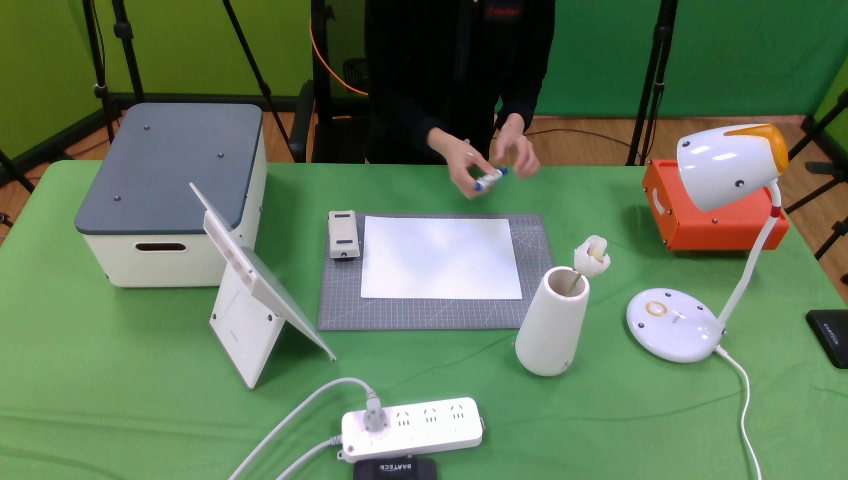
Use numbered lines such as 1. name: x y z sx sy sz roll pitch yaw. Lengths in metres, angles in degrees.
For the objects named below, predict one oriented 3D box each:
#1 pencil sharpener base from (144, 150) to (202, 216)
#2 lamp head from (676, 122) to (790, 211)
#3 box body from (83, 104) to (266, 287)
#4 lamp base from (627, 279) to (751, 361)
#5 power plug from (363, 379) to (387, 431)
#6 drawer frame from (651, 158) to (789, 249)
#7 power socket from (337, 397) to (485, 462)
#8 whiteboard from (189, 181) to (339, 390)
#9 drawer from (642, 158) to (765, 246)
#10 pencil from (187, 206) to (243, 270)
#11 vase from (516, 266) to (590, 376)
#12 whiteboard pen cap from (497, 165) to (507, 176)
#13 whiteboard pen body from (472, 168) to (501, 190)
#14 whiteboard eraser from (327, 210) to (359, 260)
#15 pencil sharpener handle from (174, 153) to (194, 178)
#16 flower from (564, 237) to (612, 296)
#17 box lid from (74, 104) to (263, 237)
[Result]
1. pencil sharpener base: -0.493 -0.113 1.199 0.061 0.107 0.076 15 46 12
2. lamp head: 0.423 -0.104 0.819 0.122 0.113 0.112 -13 33 40
3. box body: -0.447 -0.088 1.150 0.254 0.161 0.361 -1 46 -5
4. lamp base: 0.459 0.100 1.027 0.178 0.181 0.160 27 51 17
5. power plug: -0.072 0.252 0.910 0.035 0.053 0.072 3 45 -1
6. drawer frame: 0.571 -0.075 1.214 0.214 0.083 0.200 0 45 -1
7. power socket: -0.018 0.285 0.915 0.227 0.033 0.071 -5 46 -8
8. whiteboard: -0.292 0.096 0.929 0.144 0.307 0.216 -37 57 -10
9. drawer: 0.565 -0.076 1.211 0.212 0.073 0.193 2 45 -2
10. pencil: -0.401 -0.008 1.176 0.012 0.012 0.193 15 44 10
11. vase: 0.208 0.132 0.964 0.098 0.201 0.097 3 46 -3
12. whiteboard pen cap: 0.145 -0.132 1.154 0.018 0.018 0.033 24 28 18
13. whiteboard pen body: 0.119 -0.115 1.104 0.017 0.017 0.140 24 27 18
14. whiteboard eraser: -0.158 -0.009 1.177 0.055 0.042 0.112 -6 47 -7
15. pencil sharpener handle: -0.479 -0.156 1.225 0.036 0.068 0.030 24 48 2
16. flower: 0.206 0.088 0.893 0.038 0.363 0.044 -17 67 -10
17. box lid: -0.443 -0.139 1.095 0.263 0.015 0.369 -1 45 -5
